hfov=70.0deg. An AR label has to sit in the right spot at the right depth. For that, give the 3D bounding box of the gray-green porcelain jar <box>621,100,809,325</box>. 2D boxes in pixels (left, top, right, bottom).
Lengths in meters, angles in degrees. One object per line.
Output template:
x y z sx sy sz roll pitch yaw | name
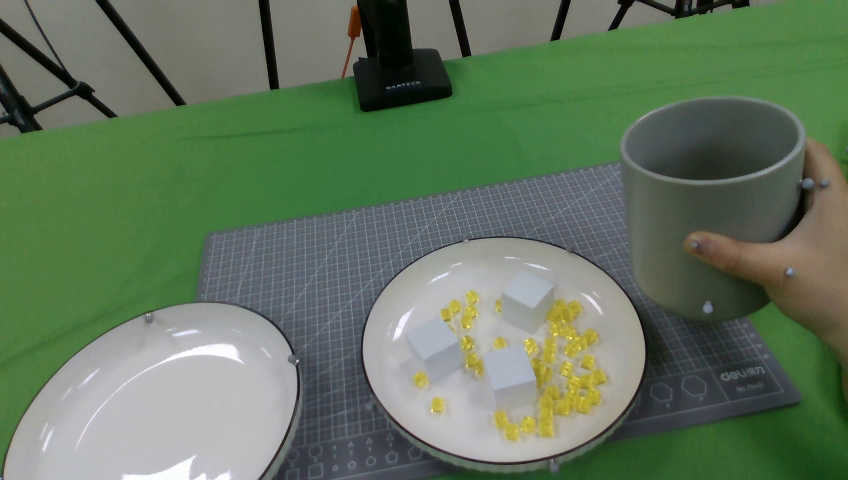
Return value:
0.193 -0.014 0.411 0.106 0.128 0.105 -12 36 9 | gray-green porcelain jar

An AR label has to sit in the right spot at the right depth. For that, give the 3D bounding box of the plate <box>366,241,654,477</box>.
0.062 0.083 0.456 0.207 0.039 0.205 -4 42 4 | plate

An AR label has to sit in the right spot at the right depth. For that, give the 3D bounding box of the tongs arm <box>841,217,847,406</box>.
0.377 -0.005 0.515 0.028 0.028 0.386 18 49 22 | tongs arm

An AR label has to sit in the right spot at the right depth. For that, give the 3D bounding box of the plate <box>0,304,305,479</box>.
-0.185 0.136 0.437 0.209 0.038 0.207 -5 43 5 | plate
